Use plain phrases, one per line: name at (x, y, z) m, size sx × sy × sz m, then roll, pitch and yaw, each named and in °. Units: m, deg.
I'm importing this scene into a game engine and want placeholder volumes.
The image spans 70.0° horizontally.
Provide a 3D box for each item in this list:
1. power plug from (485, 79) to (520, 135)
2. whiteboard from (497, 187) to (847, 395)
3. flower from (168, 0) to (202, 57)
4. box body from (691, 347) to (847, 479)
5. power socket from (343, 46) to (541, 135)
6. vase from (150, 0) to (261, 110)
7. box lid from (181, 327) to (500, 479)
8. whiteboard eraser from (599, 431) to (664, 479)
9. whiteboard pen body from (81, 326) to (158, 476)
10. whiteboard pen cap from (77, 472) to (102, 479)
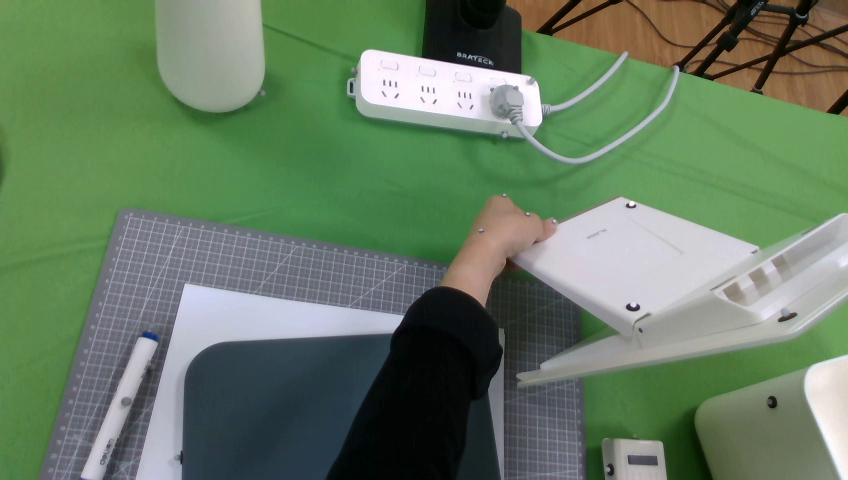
power plug at (0.081, -0.141, 0.655) m, size 0.035 × 0.053 × 0.072 m, roll 15°, pitch 71°, yaw -11°
whiteboard at (0.198, 0.000, 0.500) m, size 0.217 × 0.306 × 0.143 m, roll -22°, pitch 79°, yaw -26°
flower at (-0.149, -0.221, 0.454) m, size 0.044 × 0.361 × 0.038 m, roll -38°, pitch 100°, yaw -36°
box body at (0.435, 0.278, 0.545) m, size 0.255 × 0.161 × 0.361 m, roll -8°, pitch 71°, yaw -21°
power socket at (0.025, -0.164, 0.671) m, size 0.228 × 0.032 × 0.071 m, roll 5°, pitch 67°, yaw -16°
vase at (-0.190, -0.201, 0.524) m, size 0.098 × 0.200 × 0.097 m, roll 6°, pitch 66°, yaw -14°
box lid at (-0.054, 0.250, 0.483) m, size 0.264 × 0.015 × 0.368 m, roll 0°, pitch 69°, yaw -18°
whiteboard eraser at (0.191, 0.233, 0.554) m, size 0.056 × 0.042 × 0.112 m, roll 8°, pitch 66°, yaw -17°
whiteboard pen body at (-0.237, 0.134, 0.464) m, size 0.017 × 0.017 × 0.140 m, roll 18°, pitch 66°, yaw -9°
whiteboard pen cap at (-0.249, 0.186, 0.441) m, size 0.018 × 0.018 × 0.033 m, roll 18°, pitch 65°, yaw -9°
